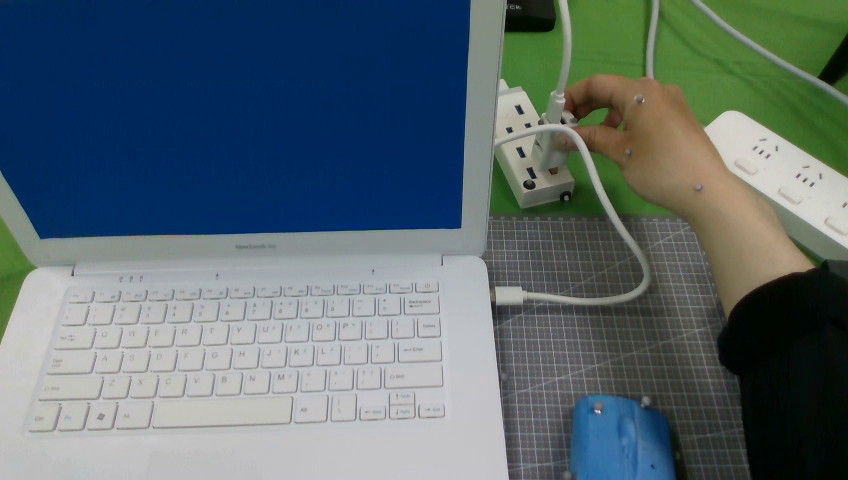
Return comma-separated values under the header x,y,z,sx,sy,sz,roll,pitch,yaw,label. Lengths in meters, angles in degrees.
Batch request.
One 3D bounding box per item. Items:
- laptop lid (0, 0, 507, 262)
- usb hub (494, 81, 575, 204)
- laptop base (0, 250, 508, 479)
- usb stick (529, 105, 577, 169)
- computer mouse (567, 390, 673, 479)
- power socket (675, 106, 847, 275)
x,y,z,sx,sy,sz,roll,pitch,yaw,label
-0.129,-0.072,0.397,0.357,0.244,0.013,-3,43,-1,laptop lid
0.088,-0.091,0.549,0.049,0.025,0.124,-14,58,-9,usb hub
-0.124,0.114,0.414,0.354,0.023,0.233,-2,60,-2,laptop base
0.104,-0.080,0.498,0.027,0.059,0.021,-16,56,-12,usb stick
0.122,0.148,0.380,0.062,0.041,0.116,10,52,9,computer mouse
0.325,-0.037,0.514,0.072,0.033,0.225,-36,64,-23,power socket
